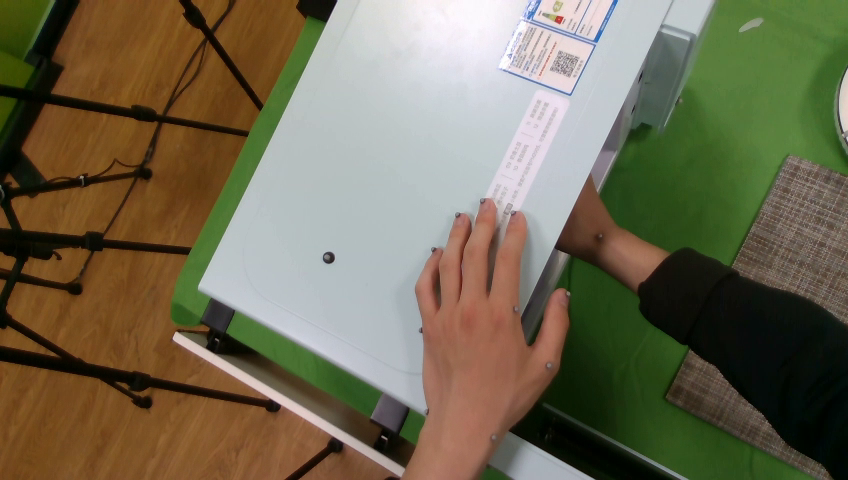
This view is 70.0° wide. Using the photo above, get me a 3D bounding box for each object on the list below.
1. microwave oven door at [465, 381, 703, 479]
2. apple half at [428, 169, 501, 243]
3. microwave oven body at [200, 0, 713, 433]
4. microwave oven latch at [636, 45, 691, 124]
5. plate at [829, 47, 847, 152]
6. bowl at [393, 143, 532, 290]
[{"bbox_3d":[0.219,0.232,0.526,0.354,0.245,0.039,25,89,16],"label":"microwave oven door"},{"bbox_3d":[0.041,-0.032,0.642,0.081,0.033,0.081,4,103,17],"label":"apple half"},{"bbox_3d":[0.038,-0.085,0.621,0.324,0.261,0.441,25,90,16],"label":"microwave oven body"},{"bbox_3d":[0.266,-0.172,0.675,0.030,0.029,0.079,30,91,16],"label":"microwave oven latch"},{"bbox_3d":[0.530,-0.143,0.623,0.207,0.039,0.207,-2,82,14],"label":"plate"},{"bbox_3d":[0.050,-0.023,0.652,0.151,0.077,0.151,0,90,23],"label":"bowl"}]
